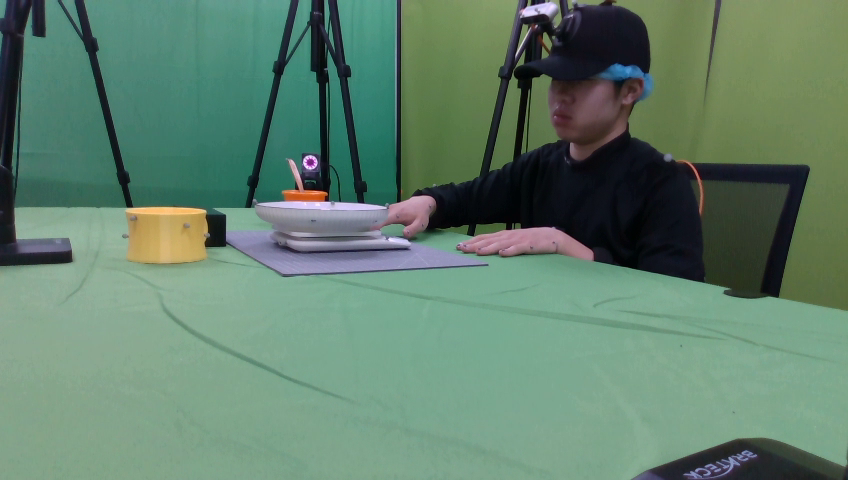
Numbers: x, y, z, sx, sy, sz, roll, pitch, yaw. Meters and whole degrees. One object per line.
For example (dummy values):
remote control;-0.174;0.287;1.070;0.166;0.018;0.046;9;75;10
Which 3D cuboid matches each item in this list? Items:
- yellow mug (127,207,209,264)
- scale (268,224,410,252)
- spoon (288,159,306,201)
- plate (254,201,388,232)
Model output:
yellow mug;-0.339;-0.010;0.827;0.100;0.064;0.131;5;7;17
scale;-0.137;-0.006;0.980;0.202;0.031;0.148;-1;8;-30
spoon;-0.259;-0.103;1.268;0.042;0.193;0.021;3;-39;-33
plate;-0.161;-0.038;0.961;0.209;0.038;0.209;2;6;0
